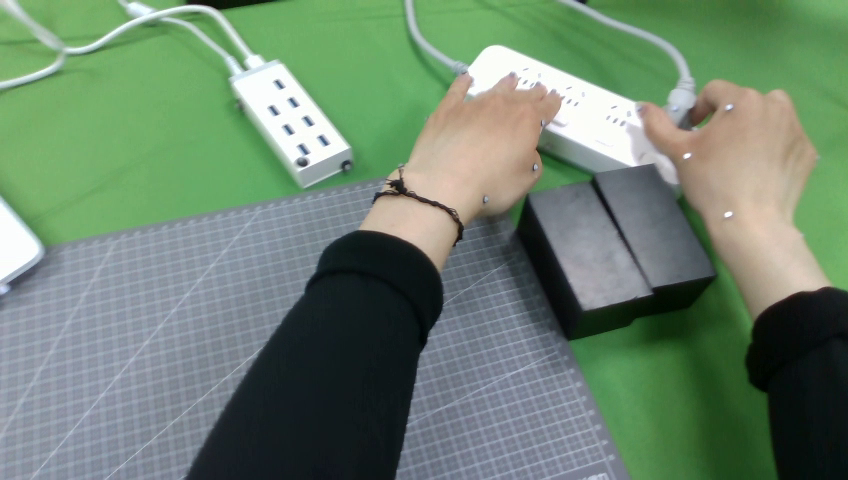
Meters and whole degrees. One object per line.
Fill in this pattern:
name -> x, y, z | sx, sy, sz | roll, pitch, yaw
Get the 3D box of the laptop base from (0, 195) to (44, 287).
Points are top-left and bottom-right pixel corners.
laptop base -> -0.474, 0.048, 0.407 | 0.234, 0.023, 0.354 | 41, 65, 17

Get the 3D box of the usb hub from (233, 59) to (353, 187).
usb hub -> -0.113, -0.102, 0.515 | 0.049, 0.025, 0.124 | -29, 64, -19

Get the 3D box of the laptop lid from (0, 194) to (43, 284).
laptop lid -> -0.472, 0.042, 0.396 | 0.240, 0.013, 0.356 | 42, 65, 19

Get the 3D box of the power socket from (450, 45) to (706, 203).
power socket -> 0.133, -0.104, 0.525 | 0.225, 0.033, 0.072 | 28, 60, 14

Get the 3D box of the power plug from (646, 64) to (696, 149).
power plug -> 0.213, -0.103, 0.503 | 0.035, 0.053, 0.072 | 36, 64, 20
